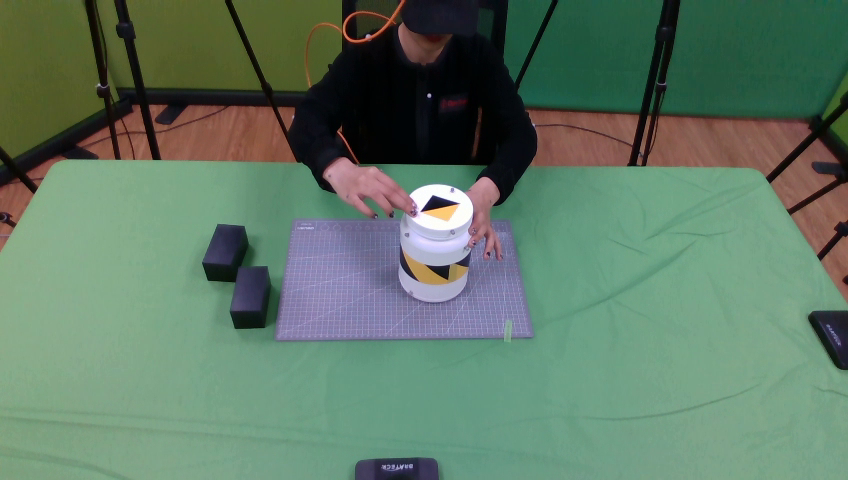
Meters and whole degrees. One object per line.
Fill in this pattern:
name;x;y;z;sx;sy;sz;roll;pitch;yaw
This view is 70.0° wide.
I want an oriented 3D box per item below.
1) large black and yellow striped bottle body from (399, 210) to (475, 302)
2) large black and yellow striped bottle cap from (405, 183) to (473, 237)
large black and yellow striped bottle body;0.021;0.007;1.075;0.131;0.185;0.130;2;46;-2
large black and yellow striped bottle cap;0.026;-0.051;1.015;0.115;0.019;0.114;2;48;-2
